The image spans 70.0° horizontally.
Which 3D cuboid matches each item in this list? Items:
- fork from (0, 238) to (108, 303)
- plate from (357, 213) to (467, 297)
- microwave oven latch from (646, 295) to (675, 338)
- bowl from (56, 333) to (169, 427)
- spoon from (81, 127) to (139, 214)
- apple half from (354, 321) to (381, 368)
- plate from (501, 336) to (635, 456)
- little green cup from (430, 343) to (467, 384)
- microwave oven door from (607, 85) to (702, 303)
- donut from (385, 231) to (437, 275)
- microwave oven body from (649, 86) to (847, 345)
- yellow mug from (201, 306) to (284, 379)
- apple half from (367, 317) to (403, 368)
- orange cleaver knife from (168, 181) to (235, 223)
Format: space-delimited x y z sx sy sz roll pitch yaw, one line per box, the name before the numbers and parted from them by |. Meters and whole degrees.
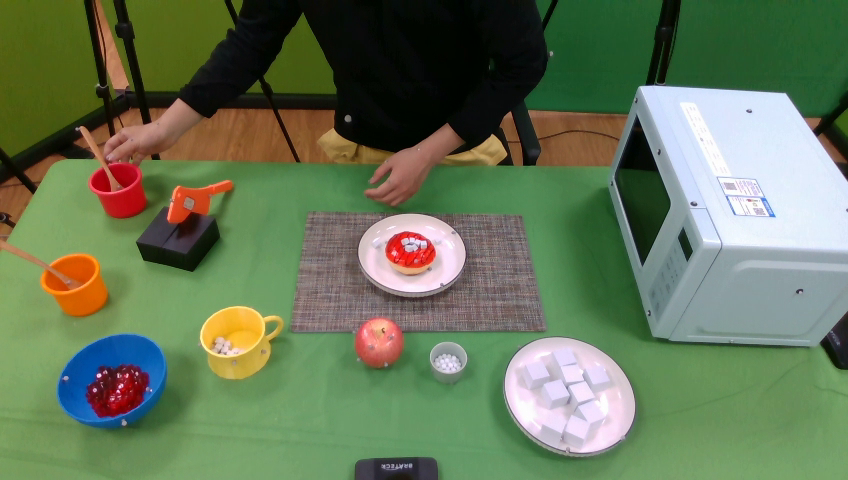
fork | -0.633 0.048 1.017 0.208 0.018 0.028 40 40 -27
plate | -0.023 0.032 1.150 0.209 0.038 0.208 2 46 -2
microwave oven latch | 0.412 0.134 1.061 0.030 0.029 0.078 4 45 1
bowl | -0.456 0.223 0.912 0.151 0.077 0.150 3 45 -2
spoon | -0.625 -0.139 1.203 0.041 0.021 0.194 -30 99 -27
apple half | -0.097 0.176 0.985 0.033 0.081 0.080 -12 48 -20
plate | 0.225 0.248 0.963 0.208 0.039 0.206 2 46 -2
little green cup | 0.039 0.203 0.993 0.061 0.039 0.061 2 46 -2
microwave oven door | 0.423 -0.094 1.140 0.039 0.245 0.353 2 46 -1
donut | -0.025 0.024 1.141 0.099 0.048 0.098 3 44 -3
microwave oven body | 0.568 -0.053 1.118 0.326 0.261 0.439 2 45 -1
yellow mug | -0.291 0.160 0.993 0.131 0.064 0.099 -23 51 -25
apple half | -0.061 0.167 0.998 0.053 0.075 0.080 -11 44 -20
orange cleaver knife | -0.436 -0.077 1.196 0.012 0.077 0.211 16 15 10
